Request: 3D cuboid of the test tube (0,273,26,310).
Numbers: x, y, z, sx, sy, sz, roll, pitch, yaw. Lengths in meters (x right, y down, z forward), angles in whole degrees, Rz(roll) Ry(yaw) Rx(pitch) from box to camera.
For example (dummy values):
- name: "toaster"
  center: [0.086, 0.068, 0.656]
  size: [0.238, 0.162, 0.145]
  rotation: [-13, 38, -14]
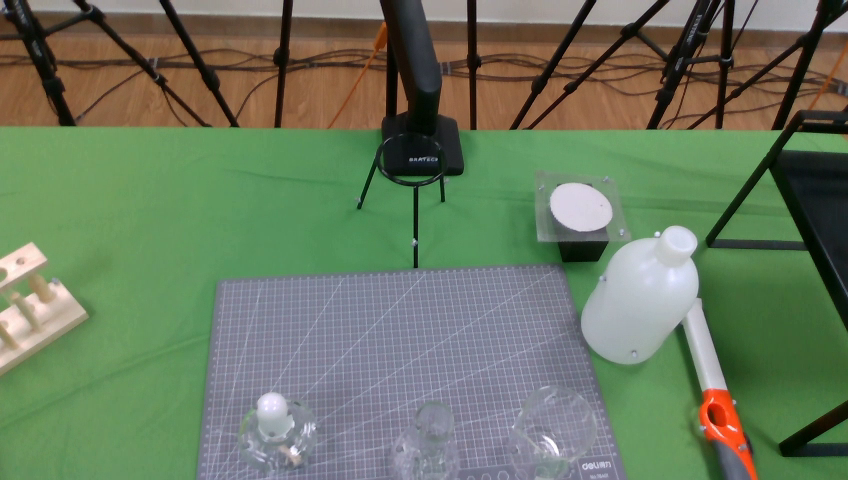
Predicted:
- name: "test tube"
  center: [-0.461, 0.030, 0.635]
  size: [0.017, 0.151, 0.017]
  rotation: [1, 52, -1]

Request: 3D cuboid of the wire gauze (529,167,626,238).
- name: "wire gauze"
  center: [0.205, -0.050, 0.822]
  size: [0.121, 0.011, 0.124]
  rotation: [4, 53, -4]

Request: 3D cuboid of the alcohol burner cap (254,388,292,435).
- name: "alcohol burner cap"
  center: [-0.144, 0.160, 0.572]
  size: [0.034, 0.048, 0.033]
  rotation: [2, 48, -2]

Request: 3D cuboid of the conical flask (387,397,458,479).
- name: "conical flask"
  center: [0.002, 0.196, 0.601]
  size: [0.075, 0.123, 0.074]
  rotation: [3, 53, -4]

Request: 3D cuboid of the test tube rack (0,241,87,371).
- name: "test tube rack"
  center: [-0.498, 0.111, 0.633]
  size: [0.066, 0.086, 0.242]
  rotation: [38, 58, 20]

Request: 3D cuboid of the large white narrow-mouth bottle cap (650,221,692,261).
- name: "large white narrow-mouth bottle cap"
  center: [0.254, 0.000, 0.626]
  size: [0.038, 0.024, 0.037]
  rotation: [3, 53, -4]

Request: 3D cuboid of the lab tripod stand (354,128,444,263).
- name: "lab tripod stand"
  center: [-0.023, -0.064, 0.789]
  size: [0.148, 0.132, 0.147]
  rotation: [4, 54, -5]

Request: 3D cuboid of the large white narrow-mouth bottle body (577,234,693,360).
- name: "large white narrow-mouth bottle body"
  center: [0.247, 0.053, 0.695]
  size: [0.102, 0.196, 0.101]
  rotation: [3, 53, -3]

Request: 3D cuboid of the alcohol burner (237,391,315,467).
- name: "alcohol burner"
  center: [-0.147, 0.181, 0.601]
  size: [0.078, 0.120, 0.077]
  rotation: [5, 52, -5]

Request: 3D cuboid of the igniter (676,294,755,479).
- name: "igniter"
  center: [0.339, 0.183, 0.714]
  size: [0.057, 0.025, 0.274]
  rotation: [10, 52, -12]

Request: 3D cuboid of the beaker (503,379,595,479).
- name: "beaker"
  center: [0.122, 0.200, 0.627]
  size: [0.084, 0.101, 0.073]
  rotation: [-5, 54, -9]
